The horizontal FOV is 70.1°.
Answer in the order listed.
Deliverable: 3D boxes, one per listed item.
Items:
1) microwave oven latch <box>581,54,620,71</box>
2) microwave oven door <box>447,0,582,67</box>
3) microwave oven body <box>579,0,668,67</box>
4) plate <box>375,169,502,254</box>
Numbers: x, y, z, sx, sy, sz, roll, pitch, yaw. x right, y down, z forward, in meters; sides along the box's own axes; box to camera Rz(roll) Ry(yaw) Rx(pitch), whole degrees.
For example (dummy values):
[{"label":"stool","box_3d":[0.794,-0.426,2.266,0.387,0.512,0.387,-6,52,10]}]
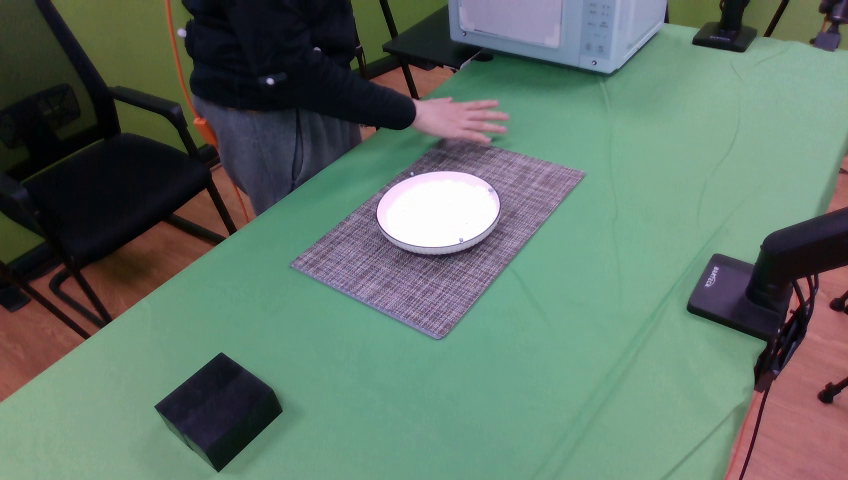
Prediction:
[{"label":"microwave oven latch","box_3d":[0.386,-0.393,1.330,0.078,0.029,0.030,25,51,32]},{"label":"microwave oven door","box_3d":[0.203,-0.545,1.372,0.353,0.245,0.039,23,49,29]},{"label":"microwave oven body","box_3d":[0.325,-0.609,1.437,0.438,0.261,0.327,23,49,30]},{"label":"plate","box_3d":[0.024,-0.044,0.998,0.209,0.038,0.208,-3,41,3]}]
